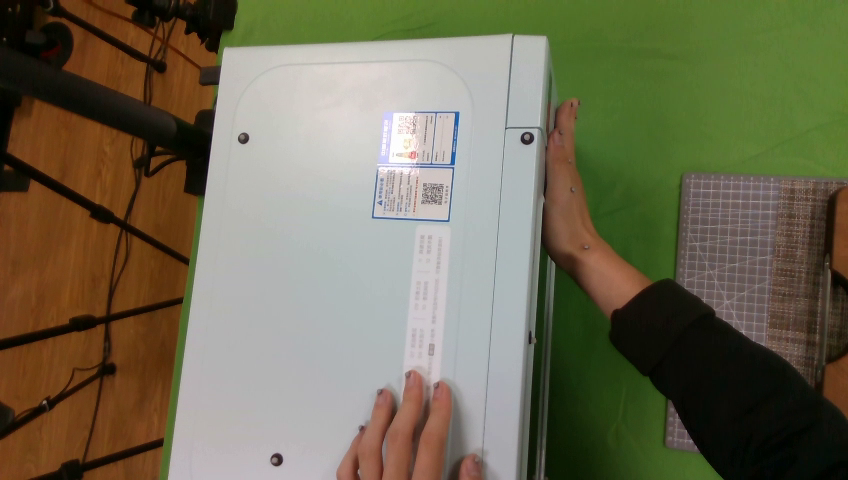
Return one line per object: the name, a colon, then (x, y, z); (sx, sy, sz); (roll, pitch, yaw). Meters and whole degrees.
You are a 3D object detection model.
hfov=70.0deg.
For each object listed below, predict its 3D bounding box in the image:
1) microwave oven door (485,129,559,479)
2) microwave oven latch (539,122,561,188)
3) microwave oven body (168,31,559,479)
microwave oven door: (0.093, 0.103, 0.566); (0.039, 0.245, 0.354); (2, 83, 17)
microwave oven latch: (0.141, -0.098, 0.688); (0.030, 0.029, 0.079); (2, 83, 16)
microwave oven body: (-0.043, 0.056, 0.616); (0.325, 0.261, 0.440); (3, 83, 16)
